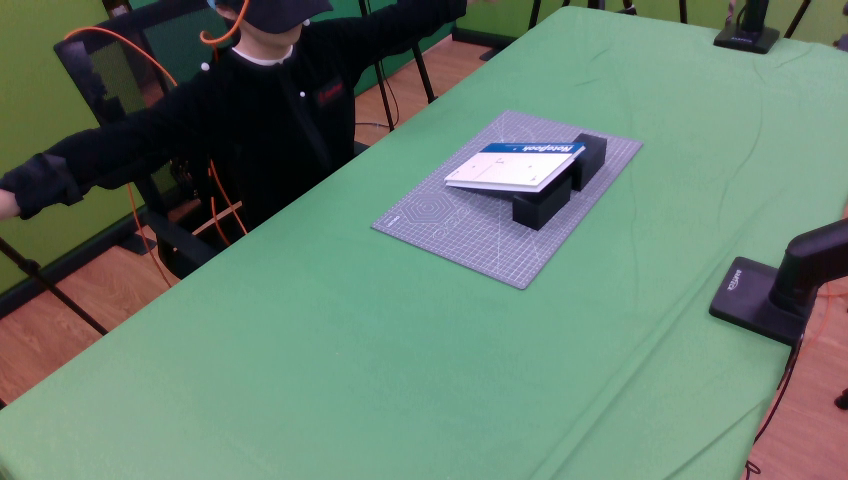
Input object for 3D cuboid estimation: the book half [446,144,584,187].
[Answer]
[{"bbox_3d":[0.154,-0.134,1.056,0.208,0.007,0.143,10,40,46],"label":"book half"}]
